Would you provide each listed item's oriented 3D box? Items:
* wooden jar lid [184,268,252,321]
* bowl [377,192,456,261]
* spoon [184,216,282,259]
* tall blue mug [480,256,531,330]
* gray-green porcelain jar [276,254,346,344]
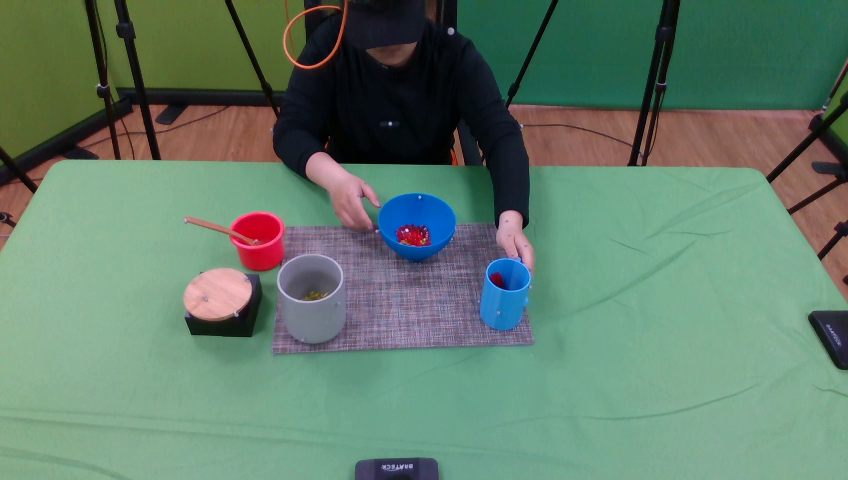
[{"bbox_3d":[-0.343,0.093,1.015,0.108,0.021,0.107,3,46,-3],"label":"wooden jar lid"},{"bbox_3d":[-0.015,-0.013,1.166,0.151,0.077,0.150,2,46,-2],"label":"bowl"},{"bbox_3d":[-0.341,-0.008,1.096,0.021,0.195,0.041,-36,47,25],"label":"spoon"},{"bbox_3d":[0.140,0.084,1.061,0.078,0.108,0.106,-2,46,-4],"label":"tall blue mug"},{"bbox_3d":[-0.184,0.102,1.008,0.106,0.127,0.105,2,46,-2],"label":"gray-green porcelain jar"}]
